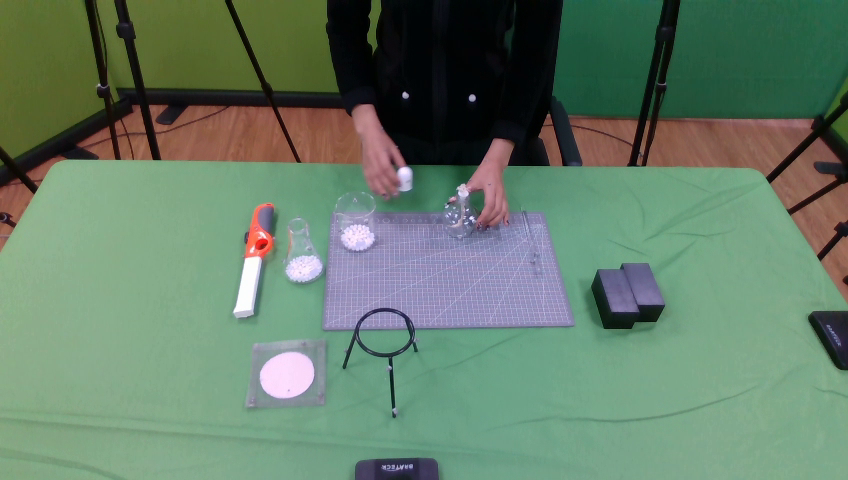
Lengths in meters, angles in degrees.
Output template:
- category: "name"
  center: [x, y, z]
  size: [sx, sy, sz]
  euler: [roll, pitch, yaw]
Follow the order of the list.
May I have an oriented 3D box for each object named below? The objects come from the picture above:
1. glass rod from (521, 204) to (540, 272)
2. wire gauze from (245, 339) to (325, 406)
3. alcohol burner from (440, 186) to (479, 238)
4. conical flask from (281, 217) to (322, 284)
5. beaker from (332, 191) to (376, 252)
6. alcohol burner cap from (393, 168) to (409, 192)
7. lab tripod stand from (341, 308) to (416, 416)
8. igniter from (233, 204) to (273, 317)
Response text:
- category: "glass rod"
  center: [0.215, -0.008, 1.230]
  size: [0.008, 0.008, 0.198]
  euler: [0, 43, -3]
- category: "wire gauze"
  center: [-0.224, 0.214, 0.984]
  size: [0.125, 0.011, 0.120]
  euler: [-2, 46, -5]
- category: "alcohol burner"
  center: [0.072, -0.062, 1.198]
  size: [0.078, 0.119, 0.077]
  euler: [4, 46, -4]
- category: "conical flask"
  center: [-0.225, 0.016, 1.097]
  size: [0.075, 0.122, 0.075]
  euler: [3, 46, -2]
- category: "beaker"
  center: [-0.133, -0.032, 1.163]
  size: [0.084, 0.101, 0.073]
  euler: [-19, 50, -20]
- category: "alcohol burner cap"
  center: [-0.048, -0.123, 1.219]
  size: [0.034, 0.048, 0.033]
  euler: [-4, 49, 5]
- category: "lab tripod stand"
  center: [-0.061, 0.177, 0.946]
  size: [0.148, 0.132, 0.147]
  euler: [2, 44, -2]
- category: "igniter"
  center: [-0.321, 0.029, 1.142]
  size: [0.057, 0.025, 0.274]
  euler: [-8, 46, 4]
